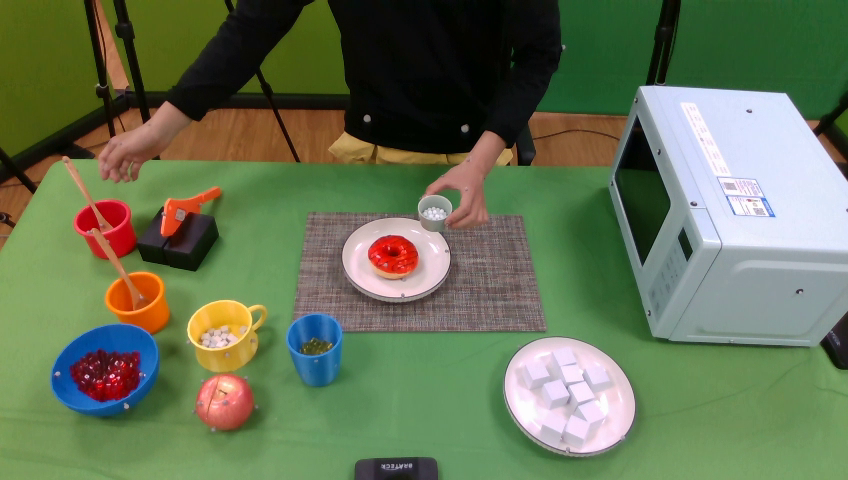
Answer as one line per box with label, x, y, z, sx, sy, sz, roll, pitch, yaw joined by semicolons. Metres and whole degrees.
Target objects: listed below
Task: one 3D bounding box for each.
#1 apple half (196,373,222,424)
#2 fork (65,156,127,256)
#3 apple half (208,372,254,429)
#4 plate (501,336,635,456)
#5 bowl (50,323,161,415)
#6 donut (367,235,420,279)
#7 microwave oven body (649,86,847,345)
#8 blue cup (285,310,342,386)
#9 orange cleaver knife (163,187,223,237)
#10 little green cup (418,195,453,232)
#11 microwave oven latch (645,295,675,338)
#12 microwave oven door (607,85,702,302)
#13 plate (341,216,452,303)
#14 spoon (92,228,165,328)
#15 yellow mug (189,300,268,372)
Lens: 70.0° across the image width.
apple half;-0.322;0.239;0.906;0.033;0.081;0.081;7;46;0
fork;-0.614;-0.064;1.130;0.028;0.018;0.207;-29;97;-16
apple half;-0.283;0.244;0.908;0.053;0.075;0.080;7;42;-1
plate;0.225;0.248;0.963;0.208;0.039;0.206;2;46;-2
bowl;-0.472;0.209;0.924;0.151;0.077;0.150;2;45;-2
donut;-0.057;0.032;1.131;0.099;0.048;0.098;3;45;-3
microwave oven body;0.568;-0.053;1.118;0.326;0.261;0.439;2;45;-1
blue cup;-0.170;0.179;0.958;0.093;0.101;0.092;2;44;-2
orange cleaver knife;-0.447;-0.058;1.180;0.012;0.077;0.211;8;16;8
little green cup;0.019;-0.046;1.080;0.061;0.039;0.061;3;51;-4
microwave oven latch;0.412;0.134;1.061;0.030;0.029;0.078;3;45;0
microwave oven door;0.423;-0.094;1.141;0.039;0.245;0.353;2;46;-1
plate;-0.052;0.039;1.140;0.209;0.038;0.208;2;46;-2
spoon;-0.496;0.063;1.014;0.041;0.194;0.021;-33;13;-30
yellow mug;-0.315;0.148;1.001;0.131;0.064;0.099;-32;55;-31
